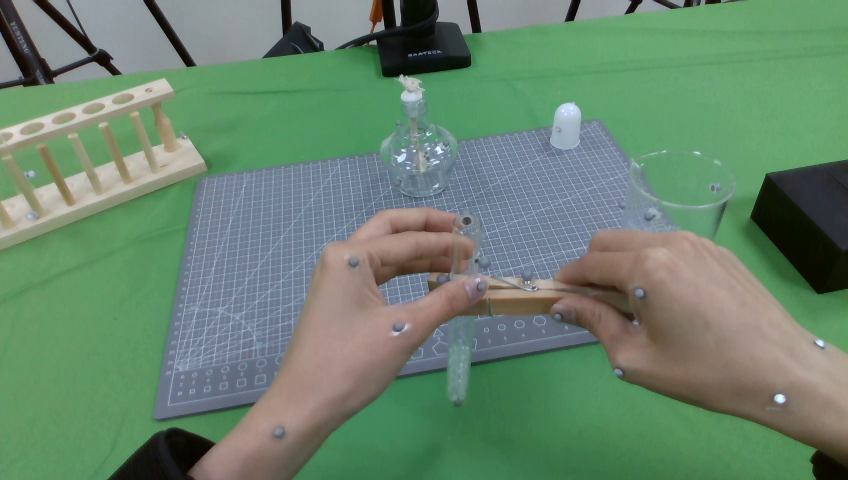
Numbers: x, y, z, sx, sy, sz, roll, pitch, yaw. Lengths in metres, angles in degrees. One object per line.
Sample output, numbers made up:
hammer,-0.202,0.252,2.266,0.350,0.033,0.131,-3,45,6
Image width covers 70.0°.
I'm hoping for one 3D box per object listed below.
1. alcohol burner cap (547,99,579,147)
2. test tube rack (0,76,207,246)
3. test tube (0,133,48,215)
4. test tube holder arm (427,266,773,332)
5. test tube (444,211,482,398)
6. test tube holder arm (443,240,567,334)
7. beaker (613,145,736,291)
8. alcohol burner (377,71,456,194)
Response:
alcohol burner cap,0.149,-0.128,0.647,0.034,0.048,0.033,-2,43,3
test tube rack,-0.359,-0.078,0.611,0.242,0.086,0.066,-26,47,-21
test tube,-0.389,-0.084,0.555,0.017,0.152,0.017,-3,42,4
test tube holder arm,0.088,0.031,0.325,0.178,0.015,0.013,5,45,16
test tube,0.021,0.045,0.353,0.017,0.151,0.017,0,42,0
test tube holder arm,0.045,0.025,0.339,0.087,0.015,0.010,30,58,34
beaker,0.190,-0.016,0.483,0.074,0.101,0.083,-30,48,-25
alcohol burner,-0.009,-0.105,0.585,0.078,0.120,0.077,-4,42,4
